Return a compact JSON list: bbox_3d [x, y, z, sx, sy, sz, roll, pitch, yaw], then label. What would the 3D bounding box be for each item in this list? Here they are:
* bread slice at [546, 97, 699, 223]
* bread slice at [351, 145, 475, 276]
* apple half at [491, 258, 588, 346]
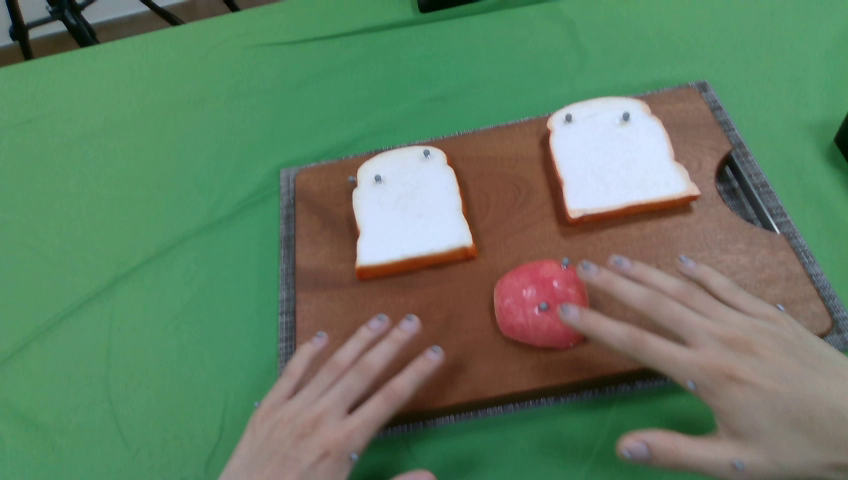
[{"bbox_3d":[0.163,-0.076,0.539,0.107,0.018,0.133,-13,54,1],"label":"bread slice"},{"bbox_3d":[-0.018,-0.032,0.544,0.105,0.019,0.130,-11,55,1],"label":"bread slice"},{"bbox_3d":[0.089,0.041,0.463,0.081,0.033,0.080,-3,56,5],"label":"apple half"}]
